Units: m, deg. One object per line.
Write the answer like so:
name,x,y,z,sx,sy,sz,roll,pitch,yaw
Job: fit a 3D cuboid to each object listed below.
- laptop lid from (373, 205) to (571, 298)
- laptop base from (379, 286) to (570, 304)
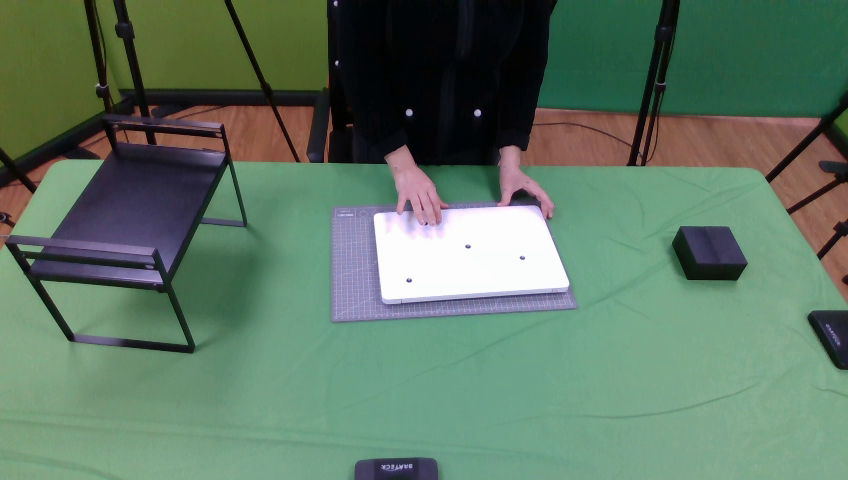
laptop lid,0.084,0.015,1.173,0.357,0.013,0.240,-2,44,-6
laptop base,0.084,0.025,1.180,0.355,0.023,0.234,-4,43,-7
